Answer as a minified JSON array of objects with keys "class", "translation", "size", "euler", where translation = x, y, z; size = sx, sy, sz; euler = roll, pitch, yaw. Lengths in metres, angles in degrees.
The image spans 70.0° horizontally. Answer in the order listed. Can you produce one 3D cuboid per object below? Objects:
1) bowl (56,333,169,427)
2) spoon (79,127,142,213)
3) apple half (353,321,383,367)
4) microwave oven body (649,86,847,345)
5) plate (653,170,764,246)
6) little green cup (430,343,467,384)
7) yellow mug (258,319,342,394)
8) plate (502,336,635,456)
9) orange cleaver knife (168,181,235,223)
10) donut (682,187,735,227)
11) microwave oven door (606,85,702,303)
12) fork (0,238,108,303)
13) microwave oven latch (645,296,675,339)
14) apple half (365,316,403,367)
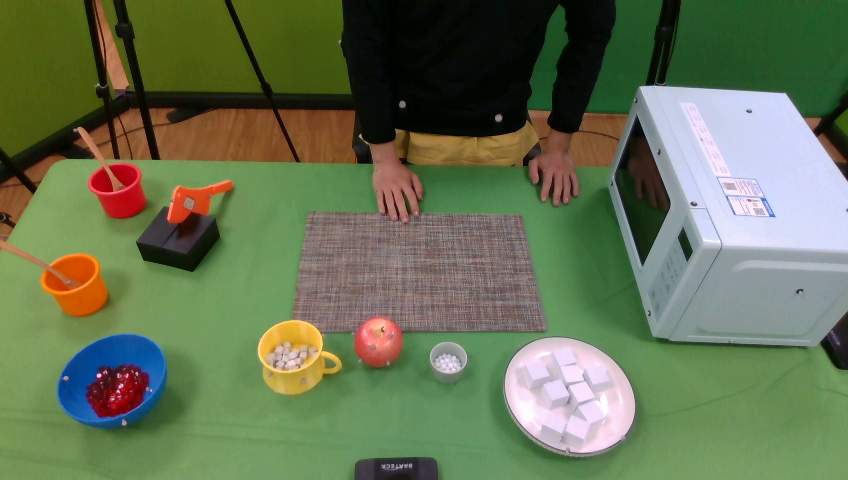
[{"class":"bowl","translation":[-0.456,0.223,0.911],"size":[0.151,0.077,0.150],"euler":[3,46,-2]},{"class":"spoon","translation":[-0.624,-0.139,1.203],"size":[0.041,0.021,0.194],"euler":[-33,100,-25]},{"class":"apple half","translation":[-0.098,0.177,0.984],"size":[0.033,0.081,0.081],"euler":[-17,49,-25]},{"class":"microwave oven body","translation":[0.567,-0.053,1.118],"size":[0.326,0.261,0.439],"euler":[2,45,-1]},{"class":"plate","translation":[0.556,-0.060,1.195],"size":[0.209,0.038,0.208],"euler":[1,45,-1]},{"class":"little green cup","translation":[0.039,0.203,0.993],"size":[0.061,0.039,0.061],"euler":[2,46,-2]},{"class":"yellow mug","translation":[-0.195,0.189,0.972],"size":[0.131,0.064,0.099],"euler":[9,46,4]},{"class":"plate","translation":[0.225,0.248,0.963],"size":[0.208,0.039,0.206],"euler":[2,46,-2]},{"class":"orange cleaver knife","translation":[-0.436,-0.078,1.196],"size":[0.012,0.077,0.211],"euler":[16,15,10]},{"class":"donut","translation":[0.554,-0.067,1.183],"size":[0.099,0.048,0.098],"euler":[3,45,-3]},{"class":"microwave oven door","translation":[0.423,-0.094,1.140],"size":[0.039,0.245,0.353],"euler":[2,46,-1]},{"class":"fork","translation":[-0.633,0.048,1.017],"size":[0.208,0.018,0.028],"euler":[40,41,-27]},{"class":"microwave oven latch","translation":[0.412,0.134,1.061],"size":[0.030,0.029,0.078],"euler":[3,45,0]},{"class":"apple half","translation":[-0.063,0.165,1.000],"size":[0.053,0.075,0.080],"euler":[-16,45,-24]}]
